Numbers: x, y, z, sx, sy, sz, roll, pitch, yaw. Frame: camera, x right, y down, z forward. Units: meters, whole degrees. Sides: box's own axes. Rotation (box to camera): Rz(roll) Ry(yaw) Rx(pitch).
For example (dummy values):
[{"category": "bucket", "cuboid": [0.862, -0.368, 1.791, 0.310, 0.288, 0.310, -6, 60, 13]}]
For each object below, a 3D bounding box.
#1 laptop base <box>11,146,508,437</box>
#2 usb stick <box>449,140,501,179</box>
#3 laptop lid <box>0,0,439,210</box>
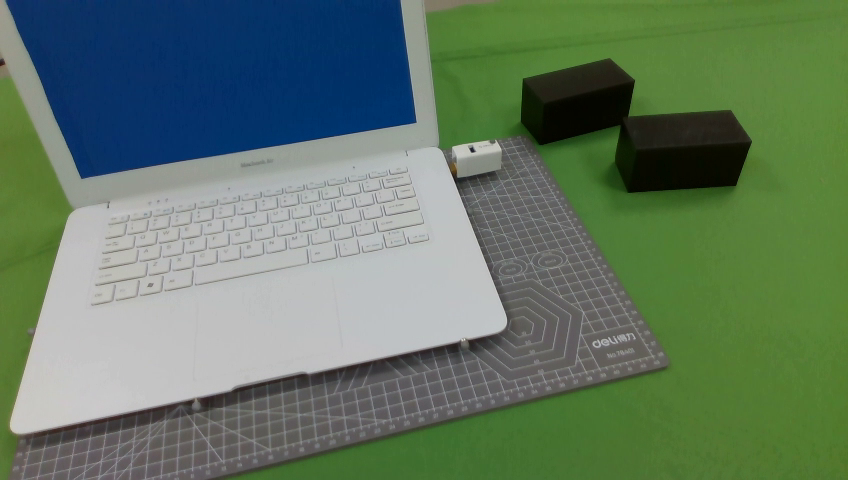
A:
[{"category": "laptop base", "cuboid": [-0.131, 0.024, 0.508, 0.355, 0.023, 0.233, -11, 48, -7]}, {"category": "usb stick", "cuboid": [0.043, -0.076, 0.578, 0.059, 0.027, 0.021, -13, 45, -5]}, {"category": "laptop lid", "cuboid": [-0.169, -0.157, 0.530, 0.357, 0.244, 0.013, -12, 31, -6]}]
